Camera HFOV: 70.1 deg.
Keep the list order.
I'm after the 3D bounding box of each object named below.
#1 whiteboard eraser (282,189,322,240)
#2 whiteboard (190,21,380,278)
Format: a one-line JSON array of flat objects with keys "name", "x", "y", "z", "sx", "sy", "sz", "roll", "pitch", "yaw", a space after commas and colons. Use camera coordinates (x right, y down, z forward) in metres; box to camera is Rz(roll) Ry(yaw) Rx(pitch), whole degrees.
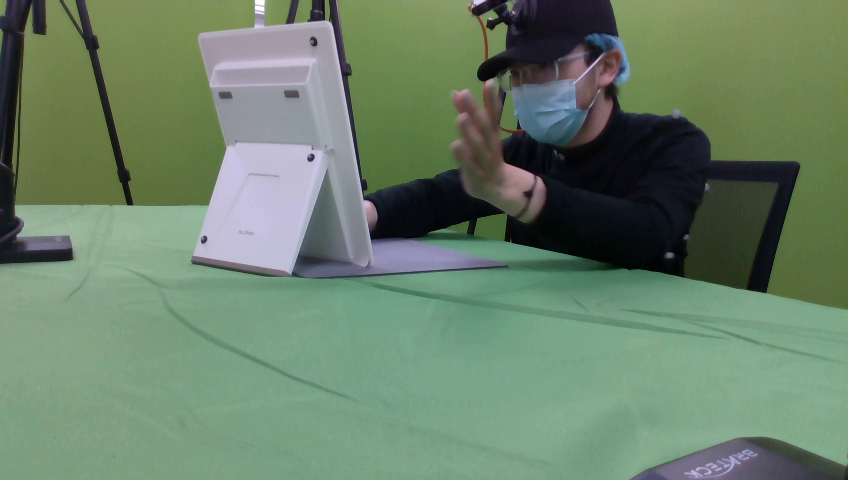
[{"name": "whiteboard eraser", "x": -0.178, "y": -0.034, "z": 0.867, "sx": 0.042, "sy": 0.055, "sz": 0.112, "roll": -31, "pitch": 0, "yaw": -18}, {"name": "whiteboard", "x": -0.207, "y": -0.087, "z": 0.729, "sx": 0.216, "sy": 0.305, "sz": 0.144, "roll": 7, "pitch": 30, "yaw": 31}]
